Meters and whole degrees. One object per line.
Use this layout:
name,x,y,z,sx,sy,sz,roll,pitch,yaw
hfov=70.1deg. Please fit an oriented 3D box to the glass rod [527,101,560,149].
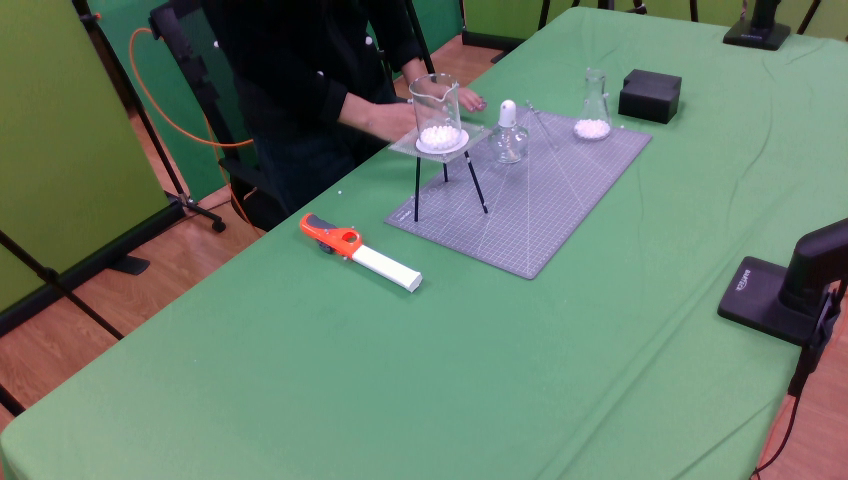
glass rod,0.240,-0.237,1.223,0.008,0.008,0.198,-12,40,-2

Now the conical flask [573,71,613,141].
conical flask,0.321,-0.256,1.142,0.075,0.122,0.075,-5,40,5

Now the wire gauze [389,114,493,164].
wire gauze,0.027,-0.163,0.978,0.120,0.011,0.125,22,50,36

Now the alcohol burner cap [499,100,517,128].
alcohol burner cap,0.154,-0.230,1.096,0.034,0.048,0.033,-2,44,2

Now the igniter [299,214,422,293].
igniter,-0.113,0.016,0.983,0.274,0.025,0.057,26,62,35

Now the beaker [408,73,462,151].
beaker,0.021,-0.196,0.943,0.074,0.101,0.083,-17,39,-7

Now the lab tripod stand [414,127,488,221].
lab tripod stand,0.035,-0.114,1.021,0.148,0.132,0.147,-7,39,6

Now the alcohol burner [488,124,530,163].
alcohol burner,0.157,-0.204,1.119,0.078,0.119,0.077,-5,38,5
